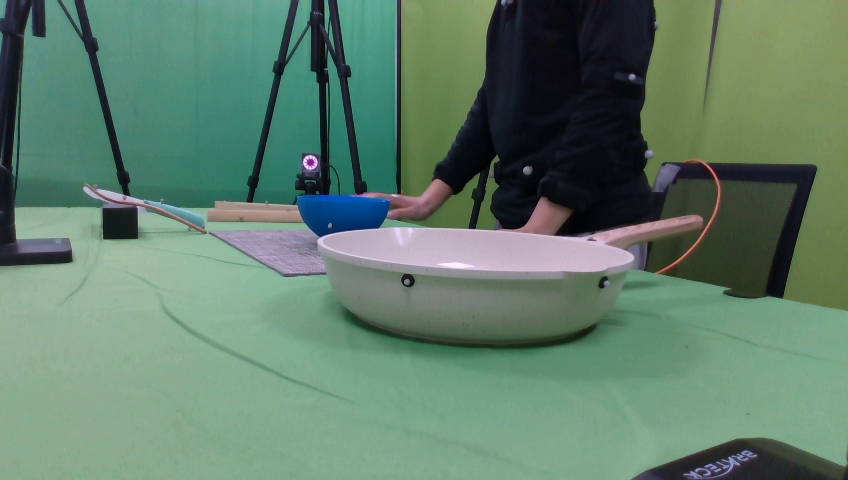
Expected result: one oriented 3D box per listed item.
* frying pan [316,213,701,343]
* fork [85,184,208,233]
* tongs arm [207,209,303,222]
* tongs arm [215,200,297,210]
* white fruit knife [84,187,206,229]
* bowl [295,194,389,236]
[{"bbox_3d":[0.133,0.013,0.629,0.490,0.102,0.305,-12,14,-30],"label":"frying pan"},{"bbox_3d":[-0.462,-0.051,1.019,0.208,0.018,0.028,22,-11,-37],"label":"fork"},{"bbox_3d":[-0.277,-0.055,1.347,0.389,0.028,0.028,0,5,-22],"label":"tongs arm"},{"bbox_3d":[-0.295,-0.069,1.425,0.386,0.026,0.050,2,8,-9],"label":"tongs arm"},{"bbox_3d":[-0.488,-0.059,1.071,0.208,0.027,0.016,17,4,-33],"label":"white fruit knife"},{"bbox_3d":[-0.133,-0.032,0.980,0.151,0.077,0.151,2,7,0],"label":"bowl"}]
